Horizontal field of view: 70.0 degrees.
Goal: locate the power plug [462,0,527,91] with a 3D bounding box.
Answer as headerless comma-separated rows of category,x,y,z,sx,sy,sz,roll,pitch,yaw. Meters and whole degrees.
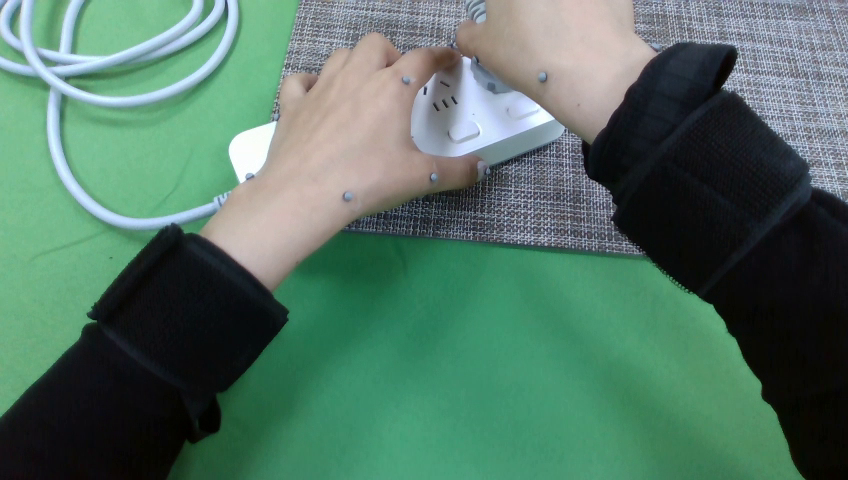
power plug,0.042,-0.127,0.391,0.035,0.053,0.072,-12,64,-7

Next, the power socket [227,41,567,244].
power socket,-0.013,-0.065,0.383,0.227,0.033,0.071,-22,66,-12
